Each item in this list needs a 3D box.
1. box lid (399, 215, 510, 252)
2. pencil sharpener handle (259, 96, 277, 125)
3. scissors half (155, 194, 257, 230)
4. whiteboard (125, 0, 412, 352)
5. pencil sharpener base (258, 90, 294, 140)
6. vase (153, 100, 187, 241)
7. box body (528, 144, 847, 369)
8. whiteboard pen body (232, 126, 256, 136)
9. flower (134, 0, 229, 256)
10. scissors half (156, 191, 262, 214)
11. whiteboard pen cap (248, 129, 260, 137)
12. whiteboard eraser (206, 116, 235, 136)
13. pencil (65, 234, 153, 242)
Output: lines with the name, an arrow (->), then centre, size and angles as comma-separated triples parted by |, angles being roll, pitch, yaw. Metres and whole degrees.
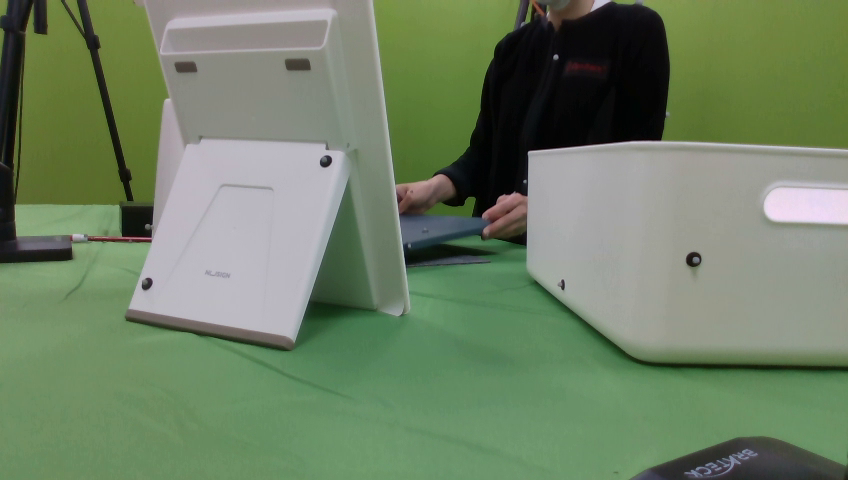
box lid -> -0.065, -0.009, 0.926 | 0.262, 0.015, 0.373 | 3, 10, 38
pencil sharpener handle -> -0.373, -0.304, 1.425 | 0.036, 0.067, 0.030 | 13, -1, -37
scissors half -> -0.378, -0.051, 1.058 | 0.176, 0.040, 0.012 | 20, 22, -31
whiteboard -> -0.151, -0.049, 0.471 | 0.216, 0.305, 0.144 | 6, 27, 24
pencil sharpener base -> -0.341, -0.285, 1.388 | 0.062, 0.107, 0.076 | -3, 9, -36
vase -> -0.278, -0.066, 0.736 | 0.098, 0.200, 0.098 | 2, 9, 0
box body -> 0.258, -0.005, 0.591 | 0.254, 0.160, 0.363 | 2, 7, -4
whiteboard pen body -> -0.407, -0.247, 1.372 | 0.017, 0.017, 0.140 | -3, 13, -35
flower -> -0.282, -0.146, 0.713 | 0.038, 0.362, 0.044 | -23, 23, -30
scissors half -> -0.371, -0.069, 1.051 | 0.176, 0.040, 0.013 | 2, 25, -24
whiteboard pen cap -> -0.373, -0.235, 1.326 | 0.018, 0.018, 0.033 | -3, 12, -35
whiteboard eraser -> -0.449, -0.251, 1.335 | 0.056, 0.042, 0.112 | 1, 7, -22
pencil -> -0.429, -0.001, 0.911 | 0.195, 0.012, 0.012 | 1, 8, -19
